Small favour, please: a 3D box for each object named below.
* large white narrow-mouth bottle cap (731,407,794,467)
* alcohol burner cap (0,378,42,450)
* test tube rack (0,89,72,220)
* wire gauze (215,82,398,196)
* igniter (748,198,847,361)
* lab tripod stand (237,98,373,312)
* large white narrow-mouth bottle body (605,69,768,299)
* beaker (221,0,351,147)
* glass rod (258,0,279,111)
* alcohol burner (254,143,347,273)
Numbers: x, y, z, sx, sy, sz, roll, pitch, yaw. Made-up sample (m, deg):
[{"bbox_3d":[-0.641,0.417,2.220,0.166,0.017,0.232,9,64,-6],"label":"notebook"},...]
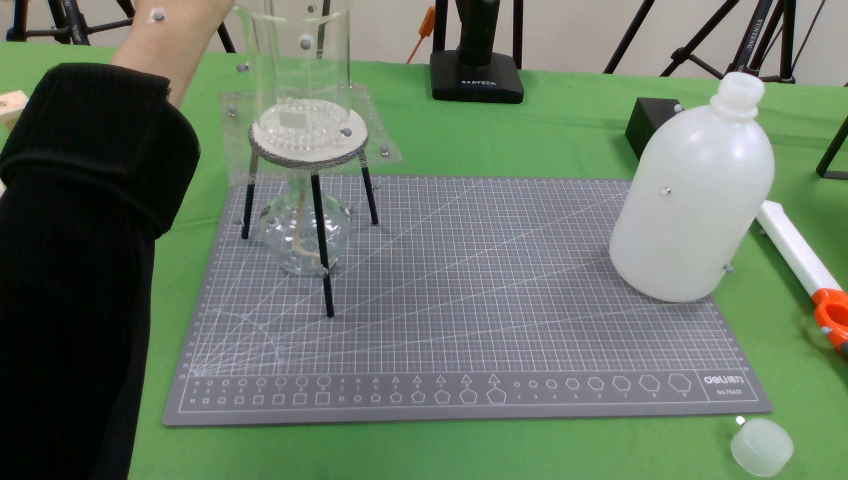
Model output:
[{"bbox_3d":[0.243,0.142,0.436,0.038,0.024,0.037,3,42,-2],"label":"large white narrow-mouth bottle cap"},{"bbox_3d":[-0.274,0.110,0.392,0.034,0.048,0.033,5,42,-4],"label":"alcohol burner cap"},{"bbox_3d":[-0.445,-0.041,0.506,0.242,0.086,0.066,-31,54,-34],"label":"test tube rack"},{"bbox_3d":[-0.093,-0.085,0.460,0.122,0.011,0.123,-10,48,-15],"label":"wire gauze"},{"bbox_3d":[0.360,0.054,0.542,0.057,0.025,0.273,10,41,-12],"label":"igniter"},{"bbox_3d":[-0.094,-0.036,0.502,0.148,0.132,0.147,5,43,-4],"label":"lab tripod stand"},{"bbox_3d":[0.224,-0.047,0.507,0.102,0.196,0.101,3,42,-2],"label":"large white narrow-mouth bottle body"},{"bbox_3d":[-0.094,-0.124,0.428,0.084,0.101,0.073,-4,45,-11],"label":"beaker"},{"bbox_3d":[-0.109,-0.175,0.398,0.008,0.201,0.008,2,40,-2],"label":"glass rod"},{"bbox_3d":[-0.104,-0.030,0.510,0.078,0.120,0.077,5,41,-4],"label":"alcohol burner"}]
